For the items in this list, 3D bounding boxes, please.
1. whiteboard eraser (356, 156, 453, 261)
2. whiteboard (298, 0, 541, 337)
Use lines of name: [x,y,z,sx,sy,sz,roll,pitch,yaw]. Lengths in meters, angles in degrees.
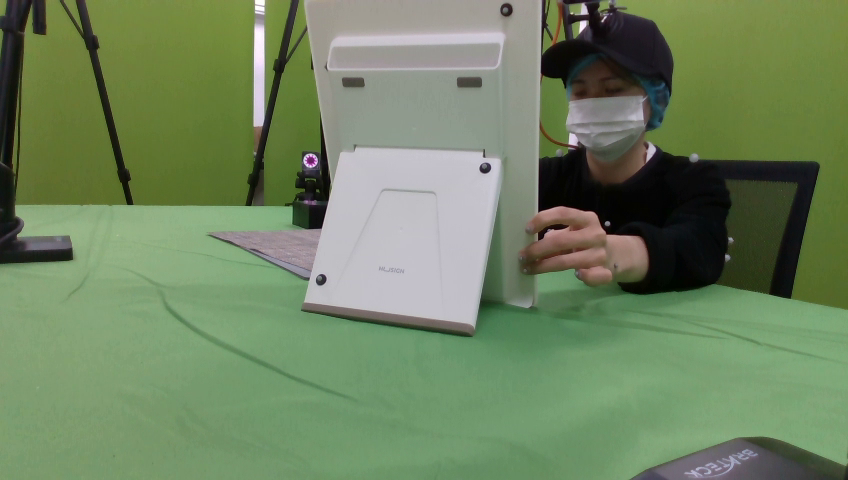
whiteboard eraser: [-0.023,-0.030,0.634,0.055,0.112,0.042,38,31,-3]
whiteboard: [-0.021,-0.050,0.523,0.216,0.305,0.144,6,27,20]
